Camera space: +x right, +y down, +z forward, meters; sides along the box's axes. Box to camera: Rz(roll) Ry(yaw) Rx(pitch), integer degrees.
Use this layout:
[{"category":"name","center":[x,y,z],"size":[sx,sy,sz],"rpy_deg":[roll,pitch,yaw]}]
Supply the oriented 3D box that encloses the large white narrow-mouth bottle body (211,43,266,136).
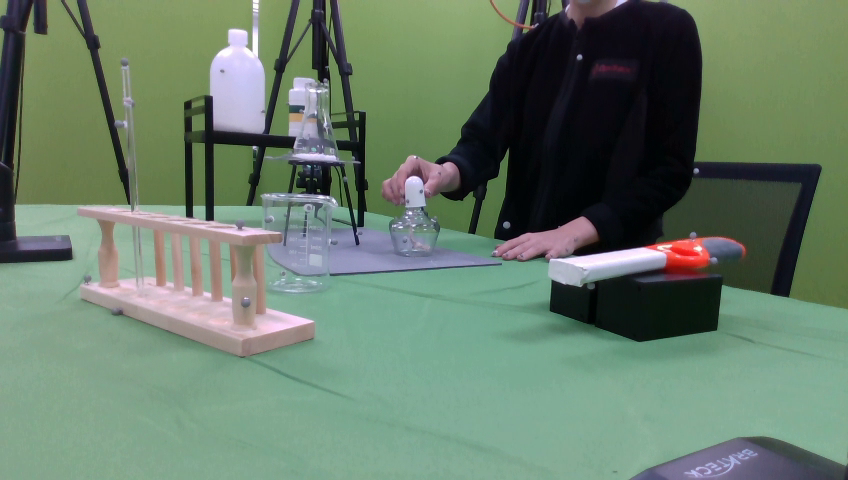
[{"category":"large white narrow-mouth bottle body","center":[-0.361,-0.302,1.176],"size":[0.102,0.194,0.102],"rpy_deg":[1,7,0]}]

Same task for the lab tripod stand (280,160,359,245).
[{"category":"lab tripod stand","center":[-0.176,-0.062,0.973],"size":[0.148,0.131,0.148],"rpy_deg":[1,7,0]}]

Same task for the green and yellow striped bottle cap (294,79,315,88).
[{"category":"green and yellow striped bottle cap","center":[-0.248,-0.323,1.256],"size":[0.045,0.020,0.045],"rpy_deg":[3,9,0]}]

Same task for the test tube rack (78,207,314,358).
[{"category":"test tube rack","center":[-0.196,0.024,0.500],"size":[0.241,0.085,0.067],"rpy_deg":[8,8,37]}]

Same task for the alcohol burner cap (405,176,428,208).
[{"category":"alcohol burner cap","center":[-0.013,-0.070,0.885],"size":[0.034,0.048,0.034],"rpy_deg":[-7,9,1]}]

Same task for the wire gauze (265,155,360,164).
[{"category":"wire gauze","center":[-0.181,-0.128,0.969],"size":[0.126,0.011,0.121],"rpy_deg":[-3,7,-26]}]

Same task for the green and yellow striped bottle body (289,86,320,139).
[{"category":"green and yellow striped bottle body","center":[-0.250,-0.272,1.261],"size":[0.063,0.119,0.063],"rpy_deg":[3,7,0]}]

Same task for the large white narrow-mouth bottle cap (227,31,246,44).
[{"category":"large white narrow-mouth bottle cap","center":[-0.361,-0.388,1.166],"size":[0.038,0.024,0.037],"rpy_deg":[1,7,0]}]

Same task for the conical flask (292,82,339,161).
[{"category":"conical flask","center":[-0.171,-0.185,0.957],"size":[0.075,0.122,0.075],"rpy_deg":[2,7,0]}]

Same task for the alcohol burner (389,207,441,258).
[{"category":"alcohol burner","center":[-0.013,-0.034,0.891],"size":[0.078,0.119,0.078],"rpy_deg":[1,6,0]}]

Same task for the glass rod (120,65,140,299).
[{"category":"glass rod","center":[-0.249,-0.047,0.513],"size":[0.008,0.199,0.008],"rpy_deg":[-1,4,0]}]

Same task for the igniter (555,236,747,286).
[{"category":"igniter","center":[0.221,0.017,0.558],"size":[0.278,0.025,0.057],"rpy_deg":[-5,15,-39]}]

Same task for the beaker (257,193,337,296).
[{"category":"beaker","center":[-0.130,0.004,0.628],"size":[0.084,0.100,0.074],"rpy_deg":[5,8,15]}]
